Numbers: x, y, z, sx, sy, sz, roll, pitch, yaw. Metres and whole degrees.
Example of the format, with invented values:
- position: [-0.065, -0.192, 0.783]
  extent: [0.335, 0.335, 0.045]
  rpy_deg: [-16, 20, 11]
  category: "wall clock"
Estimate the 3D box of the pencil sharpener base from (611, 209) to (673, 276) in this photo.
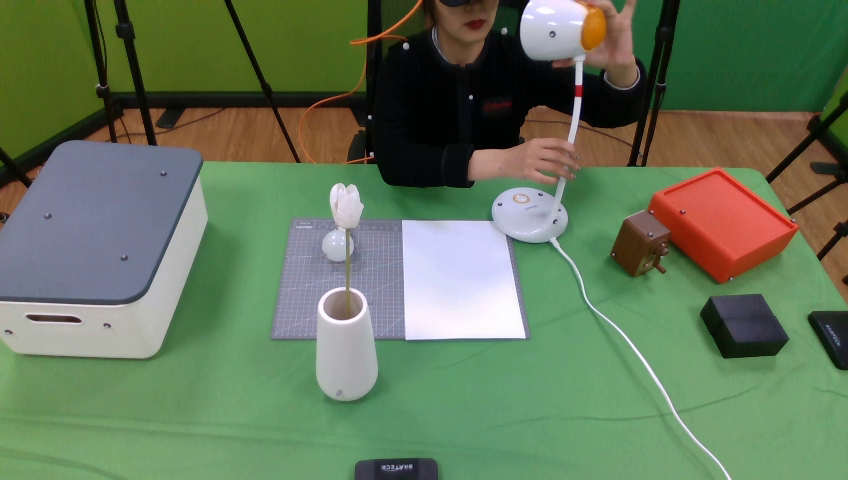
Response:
- position: [0.416, 0.007, 1.158]
  extent: [0.061, 0.107, 0.076]
  rpy_deg: [-21, 51, -22]
  category: "pencil sharpener base"

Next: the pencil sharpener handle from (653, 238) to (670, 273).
- position: [0.444, 0.030, 1.120]
  extent: [0.036, 0.068, 0.030]
  rpy_deg: [-25, 52, -18]
  category: "pencil sharpener handle"

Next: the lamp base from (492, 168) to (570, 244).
- position: [0.234, -0.102, 1.200]
  extent: [0.161, 0.181, 0.178]
  rpy_deg: [-24, 55, -25]
  category: "lamp base"

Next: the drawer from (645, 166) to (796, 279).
- position: [0.599, -0.040, 1.236]
  extent: [0.195, 0.073, 0.210]
  rpy_deg: [-21, 52, -23]
  category: "drawer"

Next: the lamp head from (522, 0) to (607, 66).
- position: [0.242, -0.354, 1.019]
  extent: [0.112, 0.113, 0.122]
  rpy_deg: [-32, 44, -30]
  category: "lamp head"

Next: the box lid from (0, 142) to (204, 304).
- position: [-0.534, -0.044, 0.995]
  extent: [0.263, 0.015, 0.369]
  rpy_deg: [3, 45, -3]
  category: "box lid"

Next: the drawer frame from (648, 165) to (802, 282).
- position: [0.603, -0.041, 1.233]
  extent: [0.202, 0.083, 0.212]
  rpy_deg: [-21, 51, -23]
  category: "drawer frame"

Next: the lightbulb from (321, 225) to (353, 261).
- position: [-0.163, -0.001, 1.164]
  extent: [0.059, 0.060, 0.107]
  rpy_deg: [4, 30, 0]
  category: "lightbulb"

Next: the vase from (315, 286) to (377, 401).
- position: [-0.119, 0.159, 0.911]
  extent: [0.098, 0.201, 0.097]
  rpy_deg: [2, 47, -2]
  category: "vase"

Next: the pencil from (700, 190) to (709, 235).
- position: [0.583, -0.058, 1.257]
  extent: [0.012, 0.012, 0.193]
  rpy_deg: [16, 35, 12]
  category: "pencil"

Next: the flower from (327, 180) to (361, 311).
- position: [-0.110, 0.086, 0.867]
  extent: [0.044, 0.363, 0.038]
  rpy_deg: [22, 34, 35]
  category: "flower"

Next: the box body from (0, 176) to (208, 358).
- position: [-0.546, 0.017, 1.045]
  extent: [0.254, 0.161, 0.361]
  rpy_deg: [2, 46, -2]
  category: "box body"
